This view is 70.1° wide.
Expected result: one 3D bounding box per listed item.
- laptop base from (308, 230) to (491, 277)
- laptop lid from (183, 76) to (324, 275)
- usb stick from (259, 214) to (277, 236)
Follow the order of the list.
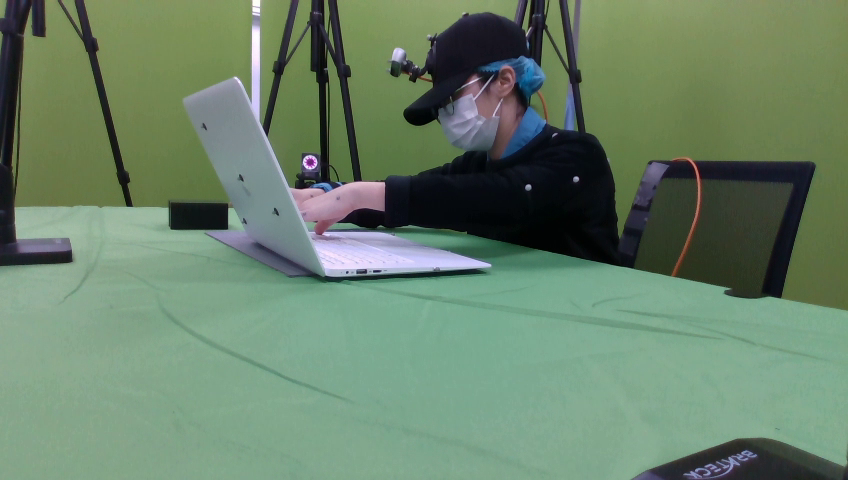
[{"bbox_3d":[-0.094,0.016,0.888,0.237,0.023,0.352,1,7,-30],"label":"laptop base"},{"bbox_3d":[-0.237,-0.084,0.791,0.013,0.242,0.355,-30,22,-23],"label":"laptop lid"},{"bbox_3d":[-0.260,-0.024,1.016,0.021,0.027,0.059,-6,22,-27],"label":"usb stick"}]
